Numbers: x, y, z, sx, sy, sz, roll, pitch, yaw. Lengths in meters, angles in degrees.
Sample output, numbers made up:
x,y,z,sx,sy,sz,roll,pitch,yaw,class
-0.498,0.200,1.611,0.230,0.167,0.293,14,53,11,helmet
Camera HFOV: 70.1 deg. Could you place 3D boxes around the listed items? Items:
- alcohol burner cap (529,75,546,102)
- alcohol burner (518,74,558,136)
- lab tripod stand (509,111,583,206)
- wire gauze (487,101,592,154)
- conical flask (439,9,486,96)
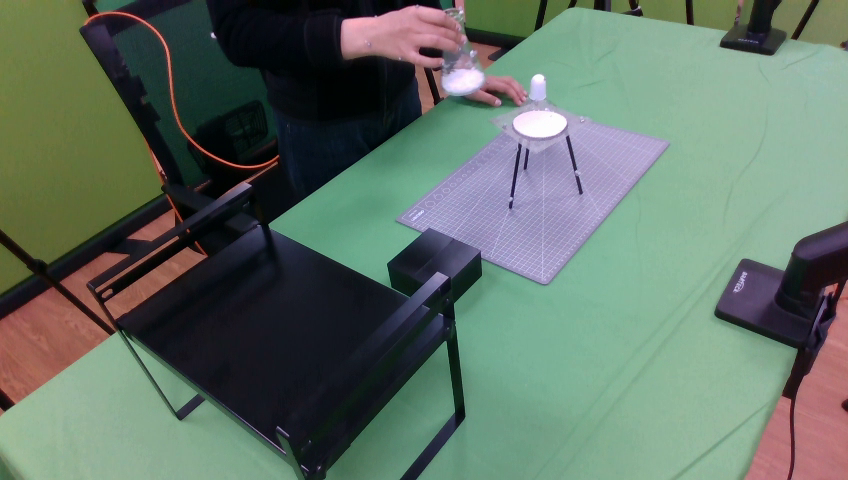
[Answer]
x,y,z,sx,sy,sz,roll,pitch,yaw,class
0.218,-0.293,1.156,0.034,0.048,0.033,-3,46,4,alcohol burner cap
0.222,-0.265,1.179,0.078,0.119,0.077,-5,39,5,alcohol burner
0.197,-0.139,1.020,0.148,0.132,0.147,-3,39,3,lab tripod stand
0.185,-0.188,0.974,0.122,0.011,0.124,-27,44,-23,wire gauze
0.052,-0.294,0.944,0.075,0.122,0.075,-9,42,9,conical flask
